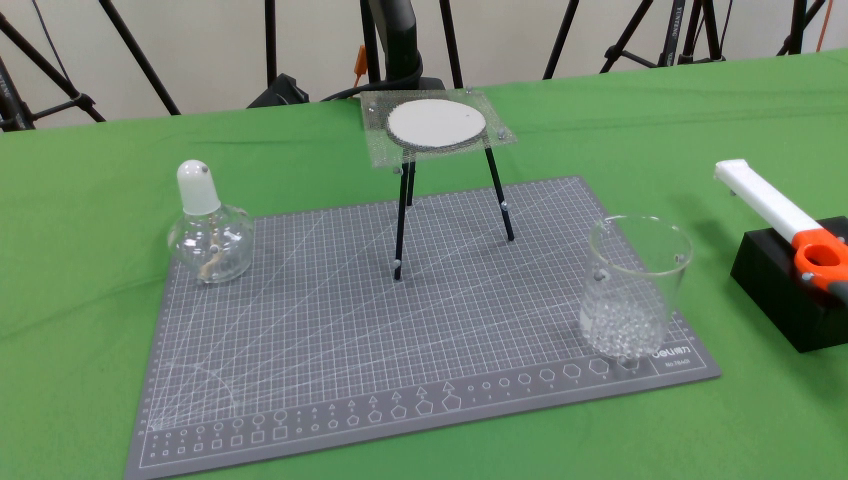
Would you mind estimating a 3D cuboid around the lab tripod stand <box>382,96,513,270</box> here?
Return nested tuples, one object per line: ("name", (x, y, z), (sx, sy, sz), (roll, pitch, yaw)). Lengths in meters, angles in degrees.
("lab tripod stand", (0.015, -0.059, 0.575), (0.148, 0.132, 0.147), (0, 38, 1))

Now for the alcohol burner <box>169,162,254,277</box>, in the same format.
("alcohol burner", (-0.199, -0.024, 0.557), (0.078, 0.120, 0.077), (0, 41, 1))

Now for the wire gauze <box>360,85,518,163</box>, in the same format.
("wire gauze", (0.008, -0.108, 0.529), (0.122, 0.011, 0.123), (-7, 40, -7))

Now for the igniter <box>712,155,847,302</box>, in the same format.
("igniter", (0.324, 0.000, 0.504), (0.057, 0.025, 0.273), (-7, 36, -4))

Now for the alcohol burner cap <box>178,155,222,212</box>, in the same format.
("alcohol burner cap", (-0.200, -0.052, 0.536), (0.034, 0.048, 0.033), (0, 33, 0))

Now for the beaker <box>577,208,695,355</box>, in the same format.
("beaker", (0.160, 0.035, 0.482), (0.074, 0.101, 0.083), (-19, 42, -20))
